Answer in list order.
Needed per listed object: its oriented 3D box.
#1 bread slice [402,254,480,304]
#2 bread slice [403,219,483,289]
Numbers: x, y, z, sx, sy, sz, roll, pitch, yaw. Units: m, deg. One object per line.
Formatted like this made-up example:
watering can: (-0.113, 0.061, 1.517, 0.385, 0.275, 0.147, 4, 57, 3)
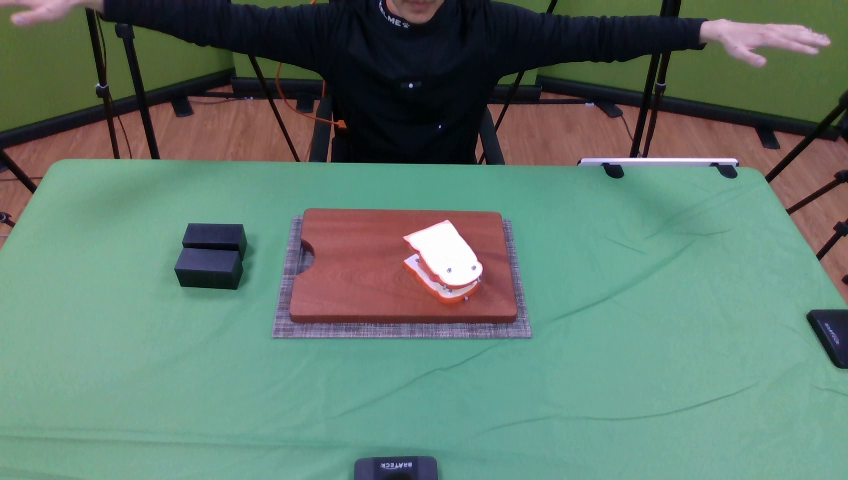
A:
bread slice: (0.040, 0.058, 1.106, 0.105, 0.019, 0.131, -29, 54, -25)
bread slice: (0.042, 0.027, 1.075, 0.107, 0.018, 0.133, -25, 65, -35)
